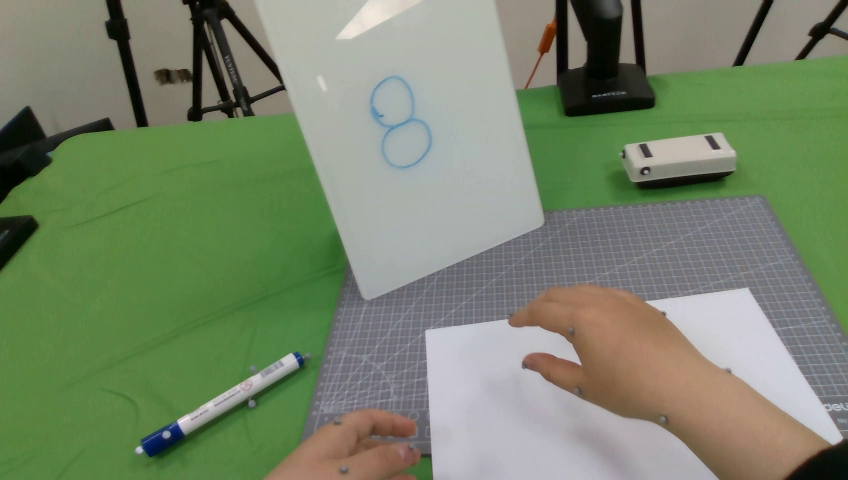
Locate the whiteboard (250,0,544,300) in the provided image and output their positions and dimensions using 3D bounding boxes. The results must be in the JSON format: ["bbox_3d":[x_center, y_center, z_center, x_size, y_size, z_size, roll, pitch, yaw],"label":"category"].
[{"bbox_3d":[-0.031,-0.132,0.642,0.217,0.307,0.142,-23,21,-13],"label":"whiteboard"}]

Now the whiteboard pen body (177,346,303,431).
[{"bbox_3d":[-0.170,0.134,0.529,0.141,0.017,0.017,-30,43,-24],"label":"whiteboard pen body"}]

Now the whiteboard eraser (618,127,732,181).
[{"bbox_3d":[0.283,-0.096,0.689,0.112,0.042,0.055,-6,42,5],"label":"whiteboard eraser"}]

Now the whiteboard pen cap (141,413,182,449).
[{"bbox_3d":[-0.218,0.159,0.507,0.033,0.018,0.018,-31,44,-24],"label":"whiteboard pen cap"}]
